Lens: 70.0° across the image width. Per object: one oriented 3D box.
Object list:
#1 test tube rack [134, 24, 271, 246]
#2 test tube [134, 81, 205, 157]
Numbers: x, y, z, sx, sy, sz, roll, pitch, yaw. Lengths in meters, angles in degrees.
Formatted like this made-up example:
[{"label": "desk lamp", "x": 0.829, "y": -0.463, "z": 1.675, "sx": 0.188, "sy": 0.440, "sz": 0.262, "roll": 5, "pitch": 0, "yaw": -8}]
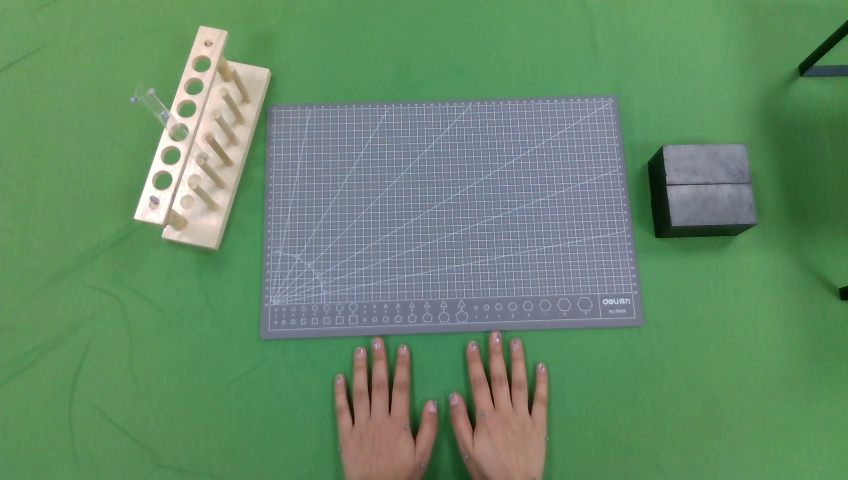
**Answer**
[{"label": "test tube rack", "x": -0.257, "y": -0.123, "z": 0.721, "sx": 0.067, "sy": 0.085, "sz": 0.241, "roll": 12, "pitch": 76, "yaw": 2}, {"label": "test tube", "x": -0.278, "y": -0.129, "z": 0.672, "sx": 0.017, "sy": 0.151, "sz": 0.017, "roll": -1, "pitch": 72, "yaw": 3}]
